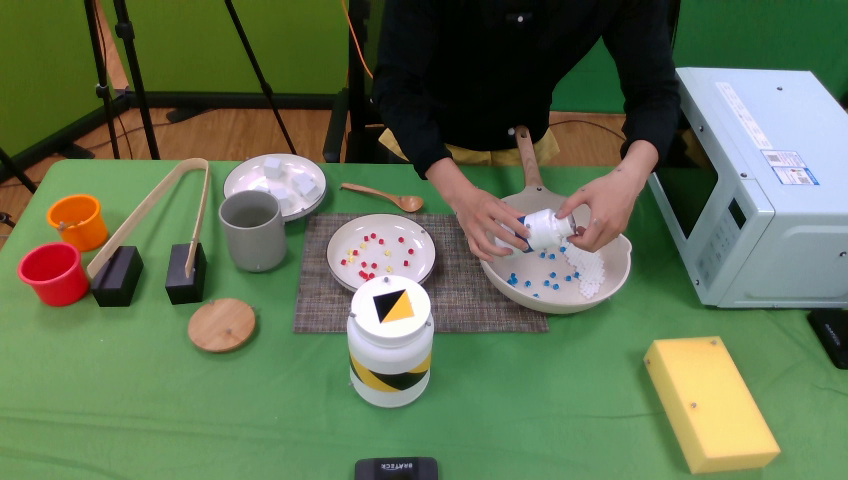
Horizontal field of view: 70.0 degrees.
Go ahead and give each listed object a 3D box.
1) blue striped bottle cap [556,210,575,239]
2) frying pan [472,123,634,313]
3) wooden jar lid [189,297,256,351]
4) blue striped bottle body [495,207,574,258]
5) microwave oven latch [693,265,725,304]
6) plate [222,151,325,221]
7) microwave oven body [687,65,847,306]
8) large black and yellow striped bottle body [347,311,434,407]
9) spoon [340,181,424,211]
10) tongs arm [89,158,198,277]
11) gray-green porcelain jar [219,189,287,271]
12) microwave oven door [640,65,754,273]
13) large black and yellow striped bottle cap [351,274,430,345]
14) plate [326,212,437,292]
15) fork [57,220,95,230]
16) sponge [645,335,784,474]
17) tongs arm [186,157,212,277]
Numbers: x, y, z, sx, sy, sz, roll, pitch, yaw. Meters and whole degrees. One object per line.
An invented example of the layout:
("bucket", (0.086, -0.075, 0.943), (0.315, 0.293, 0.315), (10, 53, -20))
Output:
("blue striped bottle cap", (0.225, -0.026, 0.959), (0.020, 0.045, 0.044), (-15, 43, 20))
("frying pan", (0.236, -0.060, 1.207), (0.307, 0.103, 0.484), (2, 55, -5))
("wooden jar lid", (-0.342, 0.145, 1.033), (0.108, 0.021, 0.107), (2, 45, -2))
("blue striped bottle body", (0.182, -0.014, 0.986), (0.121, 0.063, 0.063), (-17, 39, 28))
("microwave oven latch", (0.523, 0.081, 1.116), (0.030, 0.029, 0.078), (2, 46, -1))
("plate", (-0.310, -0.106, 1.263), (0.208, 0.039, 0.206), (2, 47, -2))
("microwave oven body", (0.669, -0.111, 1.176), (0.326, 0.261, 0.439), (0, 46, -3))
("large black and yellow striped bottle body", (-0.052, 0.157, 0.929), (0.131, 0.185, 0.130), (2, 47, -2))
("spoon", (-0.090, -0.100, 1.282), (0.193, 0.022, 0.041), (18, 66, 13))
("tongs arm", (-0.529, -0.058, 1.164), (0.028, 0.028, 0.385), (1, 36, 7))
("gray-green porcelain jar", (-0.310, -0.014, 1.113), (0.106, 0.127, 0.105), (2, 46, -2))
("microwave oven door", (0.523, -0.147, 1.193), (0.039, 0.245, 0.353), (0, 47, -3))
("large black and yellow striped bottle cap", (-0.048, 0.097, 0.867), (0.115, 0.019, 0.114), (2, 48, -2))
("plate", (-0.080, 0.030, 1.143), (0.209, 0.038, 0.208), (2, 46, -2))
("fork", (-0.624, -0.027, 1.087), (0.028, 0.207, 0.018), (-3, 92, -17))
("sponge", (0.449, 0.253, 0.956), (0.118, 0.061, 0.205), (-4, 46, -7))
("tongs arm", (-0.445, -0.058, 1.169), (0.051, 0.026, 0.382), (-4, 37, -6))
